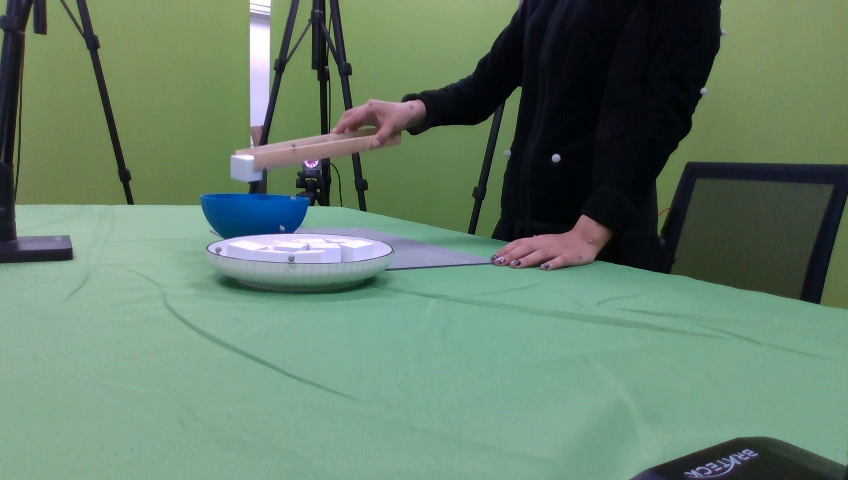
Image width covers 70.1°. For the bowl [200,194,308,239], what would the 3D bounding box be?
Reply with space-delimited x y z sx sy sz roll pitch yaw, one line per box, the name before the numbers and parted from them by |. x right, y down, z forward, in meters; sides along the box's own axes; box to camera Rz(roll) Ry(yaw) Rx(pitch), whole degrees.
bowl | -0.245 -0.025 0.879 0.151 0.077 0.151 2 7 0

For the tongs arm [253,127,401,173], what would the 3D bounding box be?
tongs arm | -0.147 -0.156 1.005 0.050 0.026 0.386 14 22 31

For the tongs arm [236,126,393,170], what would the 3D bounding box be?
tongs arm | -0.168 -0.160 1.016 0.028 0.028 0.389 9 19 28

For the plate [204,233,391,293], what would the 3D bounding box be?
plate | -0.143 0.025 0.697 0.208 0.039 0.207 3 9 0
